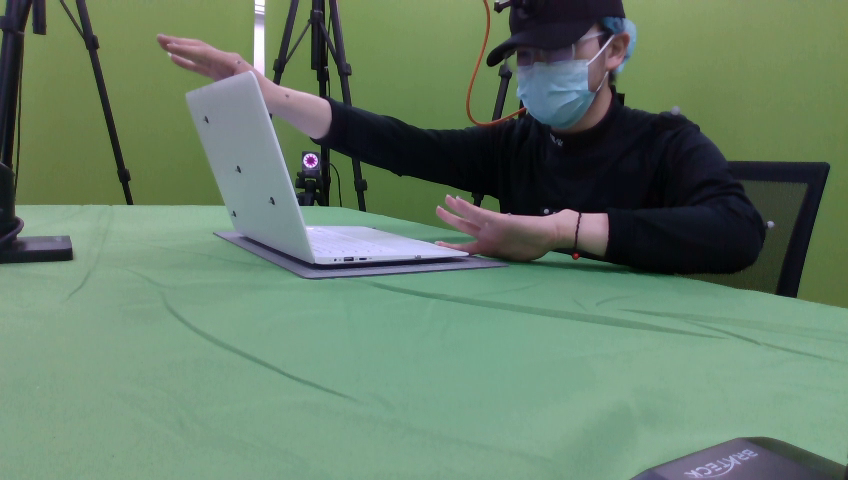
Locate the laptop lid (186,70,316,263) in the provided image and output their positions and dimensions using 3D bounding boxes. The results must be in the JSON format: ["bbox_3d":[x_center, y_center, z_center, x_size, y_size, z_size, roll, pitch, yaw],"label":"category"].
[{"bbox_3d":[-0.252,-0.100,0.837,0.013,0.242,0.355,-25,21,-27],"label":"laptop lid"}]

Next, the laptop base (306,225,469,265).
[{"bbox_3d":[-0.124,0.005,0.936,0.237,0.023,0.352,1,7,-33],"label":"laptop base"}]
